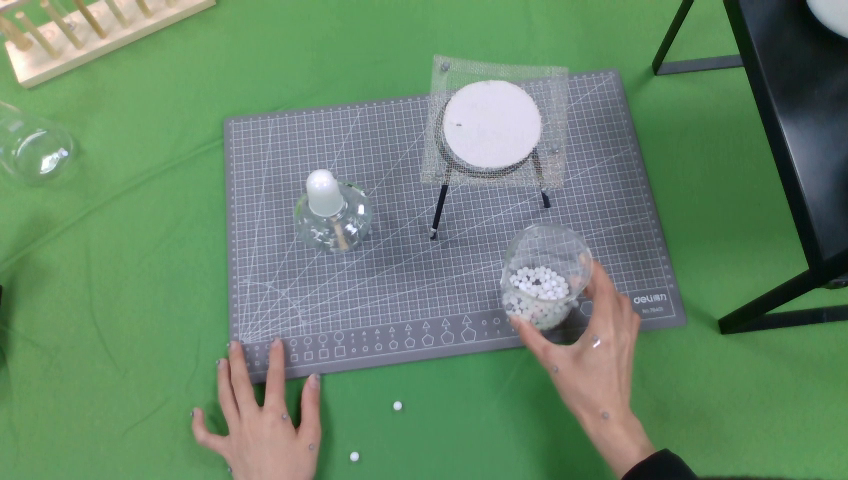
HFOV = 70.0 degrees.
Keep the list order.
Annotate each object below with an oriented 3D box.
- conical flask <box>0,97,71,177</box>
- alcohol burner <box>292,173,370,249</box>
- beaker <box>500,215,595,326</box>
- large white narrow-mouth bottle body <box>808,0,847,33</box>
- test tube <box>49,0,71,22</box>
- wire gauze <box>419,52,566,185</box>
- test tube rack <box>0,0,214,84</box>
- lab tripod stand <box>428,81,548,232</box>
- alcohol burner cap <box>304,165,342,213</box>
[{"bbox_3d":[-0.432,-0.121,0.622,0.075,0.122,0.075,-1,71,2],"label":"conical flask"},{"bbox_3d":[-0.092,-0.036,0.586,0.078,0.120,0.077,0,69,0],"label":"alcohol burner"},{"bbox_3d":[0.106,0.035,0.555,0.084,0.101,0.073,-26,67,-9],"label":"beaker"},{"bbox_3d":[0.356,-0.235,0.410,0.102,0.196,0.101,-1,71,3],"label":"large white narrow-mouth bottle body"},{"bbox_3d":[-0.423,-0.292,0.646,0.017,0.151,0.017,0,65,1],"label":"test tube"},{"bbox_3d":[0.061,-0.106,0.523,0.121,0.011,0.124,5,72,2],"label":"wire gauze"},{"bbox_3d":[-0.377,-0.278,0.692,0.242,0.086,0.066,-28,72,-7],"label":"test tube rack"},{"bbox_3d":[0.058,-0.079,0.585,0.148,0.132,0.147,0,70,0],"label":"lab tripod stand"},{"bbox_3d":[-0.094,-0.050,0.552,0.034,0.048,0.033,1,63,-2],"label":"alcohol burner cap"}]
